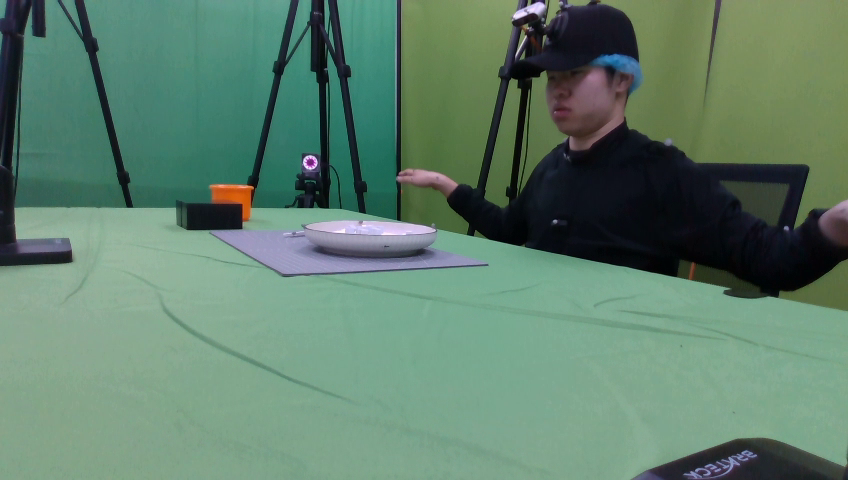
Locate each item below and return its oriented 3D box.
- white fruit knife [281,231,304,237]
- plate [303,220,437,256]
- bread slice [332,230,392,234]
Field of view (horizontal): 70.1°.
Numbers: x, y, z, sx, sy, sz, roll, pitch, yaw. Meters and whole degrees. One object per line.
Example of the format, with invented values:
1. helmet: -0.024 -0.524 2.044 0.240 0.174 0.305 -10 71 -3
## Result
1. white fruit knife: -0.178 -0.017 1.131 0.208 0.016 0.027 -8 -17 -47
2. plate: -0.084 -0.003 0.951 0.209 0.038 0.209 3 7 0
3. bread slice: -0.088 -0.001 0.947 0.105 0.019 0.131 -5 11 -45
